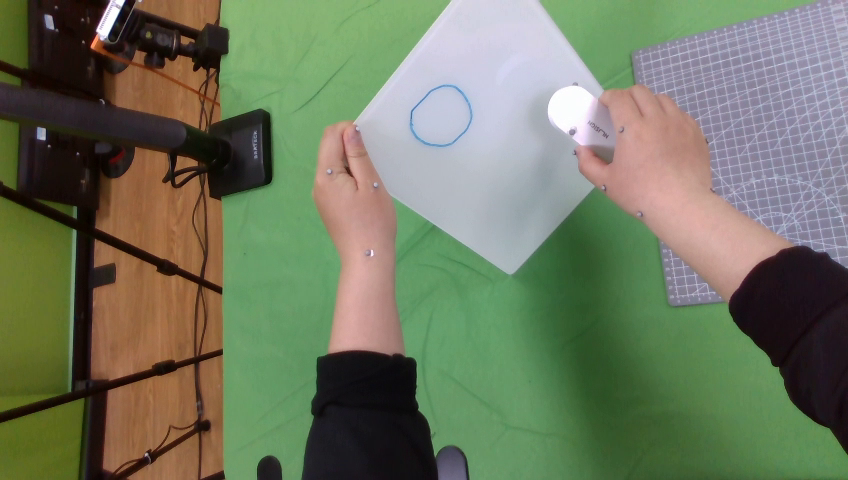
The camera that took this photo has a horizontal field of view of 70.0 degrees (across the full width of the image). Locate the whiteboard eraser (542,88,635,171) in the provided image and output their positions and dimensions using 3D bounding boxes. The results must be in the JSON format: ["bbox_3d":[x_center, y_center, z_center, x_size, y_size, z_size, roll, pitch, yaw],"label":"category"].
[{"bbox_3d":[0.152,-0.101,0.559,0.102,0.018,0.041,33,94,-16],"label":"whiteboard eraser"}]

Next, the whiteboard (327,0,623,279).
[{"bbox_3d":[0.048,-0.129,0.651,0.217,0.309,0.142,-48,45,10],"label":"whiteboard"}]
